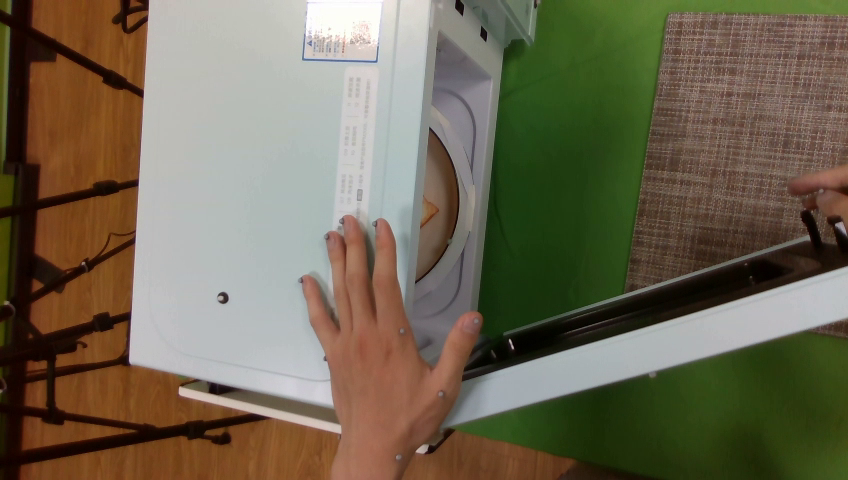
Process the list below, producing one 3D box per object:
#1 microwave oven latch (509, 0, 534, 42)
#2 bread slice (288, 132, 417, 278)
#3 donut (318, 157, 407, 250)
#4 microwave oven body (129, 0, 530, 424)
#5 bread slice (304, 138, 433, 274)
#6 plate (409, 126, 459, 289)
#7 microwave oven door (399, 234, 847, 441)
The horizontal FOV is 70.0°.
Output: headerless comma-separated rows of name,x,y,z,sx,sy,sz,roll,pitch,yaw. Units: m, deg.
microwave oven latch,0.102,-0.252,0.640,0.030,0.029,0.079,7,96,19
bread slice,-0.082,-0.040,0.610,0.105,0.019,0.131,-37,82,21
donut,-0.065,-0.038,0.634,0.099,0.048,0.099,1,93,17
microwave oven body,-0.086,-0.089,0.614,0.324,0.261,0.442,7,95,19
bread slice,-0.069,-0.043,0.656,0.107,0.018,0.133,-39,73,5
plate,-0.058,-0.038,0.663,0.207,0.039,0.207,1,93,20
microwave oven door,0.177,0.077,0.521,0.355,0.244,0.039,-22,84,20
